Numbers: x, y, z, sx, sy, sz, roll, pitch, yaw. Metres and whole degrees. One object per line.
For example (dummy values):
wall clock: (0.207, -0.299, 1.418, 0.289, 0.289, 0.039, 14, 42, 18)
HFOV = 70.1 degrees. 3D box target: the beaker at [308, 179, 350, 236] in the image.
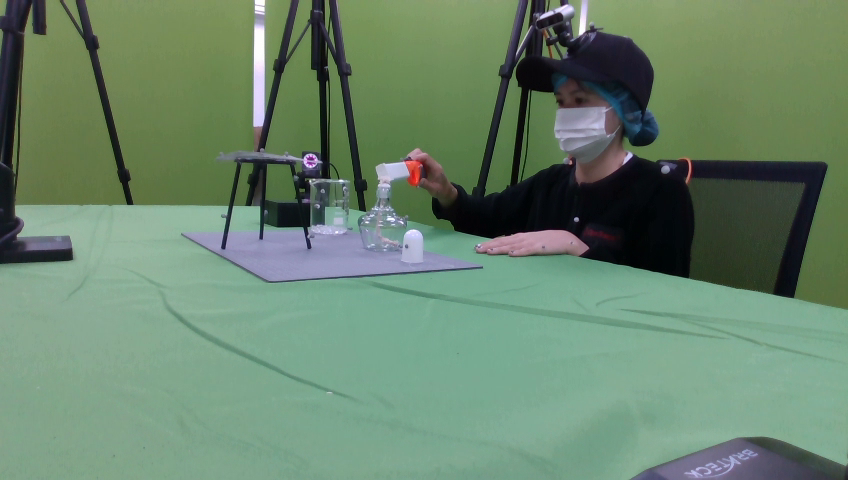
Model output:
beaker: (-0.176, -0.060, 1.104, 0.073, 0.100, 0.084, 8, 10, 40)

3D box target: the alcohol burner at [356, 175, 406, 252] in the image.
alcohol burner: (-0.066, -0.042, 0.940, 0.078, 0.119, 0.078, 4, 6, 0)

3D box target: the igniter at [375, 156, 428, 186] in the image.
igniter: (-0.034, -0.123, 1.084, 0.025, 0.057, 0.277, -22, 2, 15)

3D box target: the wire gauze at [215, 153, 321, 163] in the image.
wire gauze: (-0.235, -0.123, 0.906, 0.126, 0.011, 0.121, -2, 7, -33)

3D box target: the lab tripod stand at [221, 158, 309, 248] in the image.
lab tripod stand: (-0.244, -0.057, 0.917, 0.148, 0.131, 0.148, 1, 7, 0)

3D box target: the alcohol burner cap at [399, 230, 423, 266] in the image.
alcohol burner cap: (-0.017, 0.010, 0.837, 0.034, 0.048, 0.034, 3, 7, 0)
